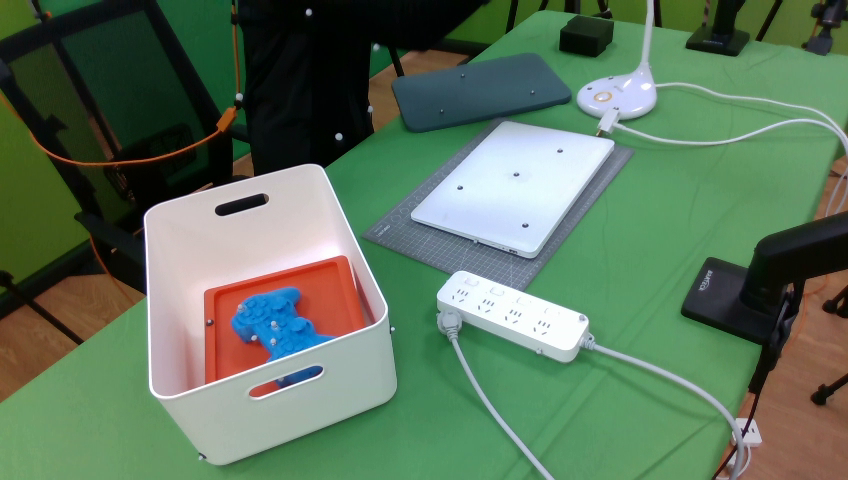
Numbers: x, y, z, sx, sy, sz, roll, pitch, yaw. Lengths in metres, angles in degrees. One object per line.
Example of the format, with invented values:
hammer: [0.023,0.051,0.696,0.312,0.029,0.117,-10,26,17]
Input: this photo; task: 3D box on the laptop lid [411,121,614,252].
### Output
laptop lid: [0.164,-0.112,1.068,0.240,0.013,0.357,19,46,30]

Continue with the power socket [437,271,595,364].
power socket: [0.118,0.102,0.830,0.225,0.033,0.072,20,48,28]

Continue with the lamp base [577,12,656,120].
lamp base: [0.404,-0.359,1.218,0.180,0.181,0.159,-24,44,-23]

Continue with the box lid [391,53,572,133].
box lid: [0.122,-0.339,1.366,0.372,0.015,0.261,-12,40,-5]

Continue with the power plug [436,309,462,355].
power plug: [0.032,0.126,0.810,0.035,0.053,0.072,3,59,7]

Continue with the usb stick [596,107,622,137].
usb stick: [0.355,-0.223,1.168,0.027,0.059,0.022,37,14,34]

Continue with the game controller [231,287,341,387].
game controller: [-0.167,0.110,0.734,0.097,0.052,0.154,-34,47,-22]

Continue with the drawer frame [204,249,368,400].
drawer frame: [-0.174,0.129,0.791,0.202,0.083,0.212,-16,45,-8]

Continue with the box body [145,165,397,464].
box body: [-0.205,0.080,0.802,0.255,0.161,0.361,-18,41,-13]

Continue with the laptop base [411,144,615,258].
laptop base: [0.167,-0.102,1.074,0.234,0.023,0.355,16,45,30]

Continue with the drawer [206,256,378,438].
drawer: [-0.177,0.130,0.787,0.195,0.073,0.210,-14,39,-9]
